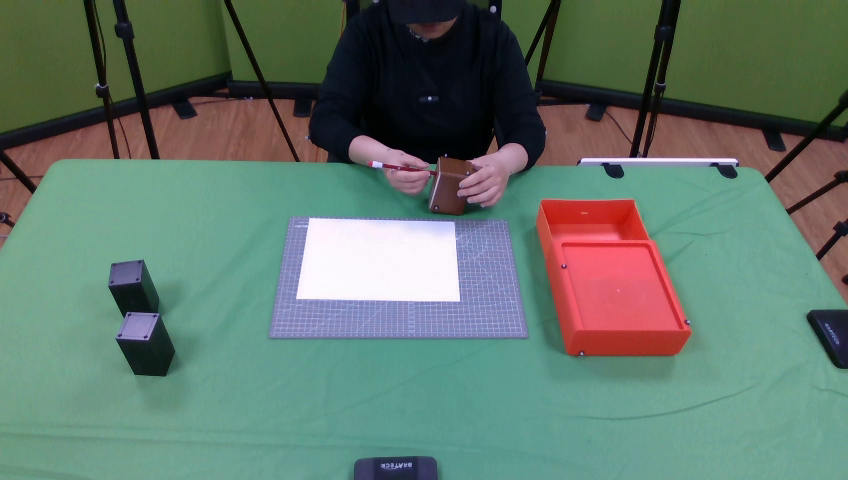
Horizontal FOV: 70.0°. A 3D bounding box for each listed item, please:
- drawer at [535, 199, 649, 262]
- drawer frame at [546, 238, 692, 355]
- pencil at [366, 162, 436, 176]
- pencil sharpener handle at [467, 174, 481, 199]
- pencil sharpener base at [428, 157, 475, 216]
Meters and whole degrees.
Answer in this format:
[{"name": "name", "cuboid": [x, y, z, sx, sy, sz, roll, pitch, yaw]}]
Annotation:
[{"name": "drawer", "cuboid": [0.332, 0.015, 1.169, 0.195, 0.073, 0.210, 0, 46, -5]}, {"name": "drawer frame", "cuboid": [0.338, 0.097, 1.086, 0.202, 0.083, 0.212, 0, 46, -4]}, {"name": "pencil", "cuboid": [-0.019, -0.139, 1.214, 0.194, 0.012, 0.012, 7, 45, -8]}, {"name": "pencil sharpener handle", "cuboid": [0.108, -0.110, 1.244, 0.031, 0.068, 0.036, 9, 49, -8]}, {"name": "pencil sharpener base", "cuboid": [0.055, -0.108, 1.244, 0.077, 0.107, 0.061, 9, 44, -8]}]
